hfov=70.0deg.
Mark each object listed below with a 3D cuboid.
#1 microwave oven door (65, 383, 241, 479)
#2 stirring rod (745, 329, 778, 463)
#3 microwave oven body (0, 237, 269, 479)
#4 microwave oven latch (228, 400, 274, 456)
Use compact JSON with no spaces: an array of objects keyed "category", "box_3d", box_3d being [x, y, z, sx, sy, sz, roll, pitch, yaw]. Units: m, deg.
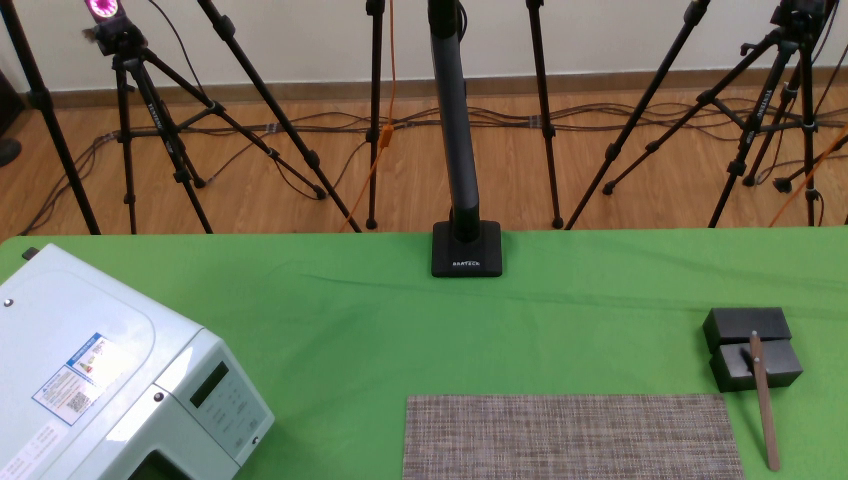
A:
[{"category":"microwave oven door","box_3d":[-0.360,0.348,0.649,0.039,0.246,0.354,22,57,21]},{"category":"stirring rod","box_3d":[0.455,0.208,0.817,0.014,0.006,0.175,-6,76,13]},{"category":"microwave oven body","box_3d":[-0.465,0.270,0.724,0.324,0.262,0.440,23,58,20]},{"category":"microwave oven latch","box_3d":[-0.242,0.257,0.839,0.030,0.030,0.079,25,59,21]}]
